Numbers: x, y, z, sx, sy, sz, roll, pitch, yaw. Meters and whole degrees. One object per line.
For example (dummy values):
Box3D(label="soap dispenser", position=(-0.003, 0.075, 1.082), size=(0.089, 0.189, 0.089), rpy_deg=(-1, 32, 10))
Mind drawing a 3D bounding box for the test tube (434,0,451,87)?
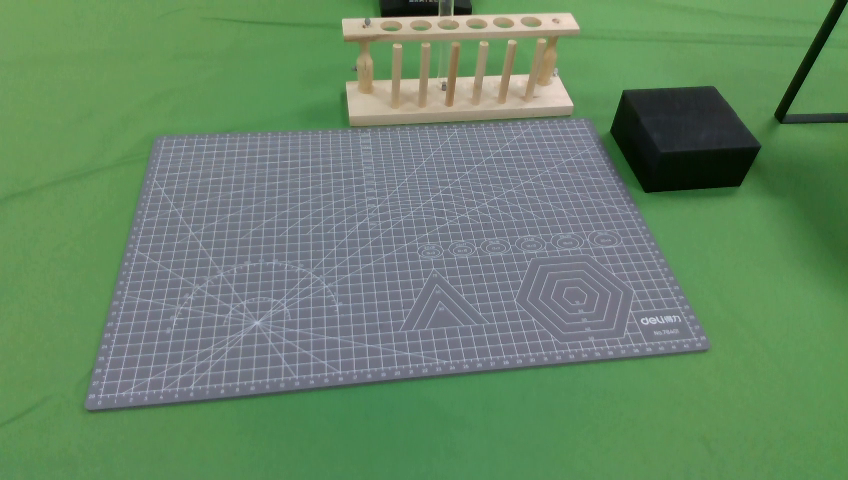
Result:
Box3D(label="test tube", position=(0.019, -0.224, 0.615), size=(0.017, 0.151, 0.017), rpy_deg=(1, 44, 0))

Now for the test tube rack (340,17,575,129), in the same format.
Box3D(label="test tube rack", position=(0.036, -0.178, 0.642), size=(0.243, 0.086, 0.066), rpy_deg=(-4, 47, -8))
